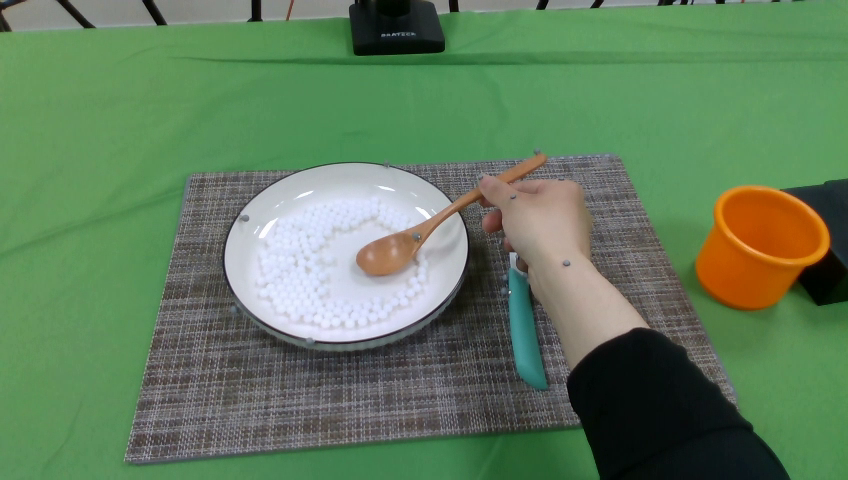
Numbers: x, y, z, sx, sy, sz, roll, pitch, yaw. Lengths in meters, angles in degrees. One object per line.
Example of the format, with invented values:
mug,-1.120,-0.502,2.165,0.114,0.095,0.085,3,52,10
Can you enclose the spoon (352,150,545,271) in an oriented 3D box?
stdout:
spoon,0.024,-0.028,0.530,0.194,0.022,0.041,-32,50,-2

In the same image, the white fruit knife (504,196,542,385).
white fruit knife,0.081,0.032,0.530,0.027,0.016,0.205,25,42,-22

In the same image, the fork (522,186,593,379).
fork,0.116,0.028,0.531,0.028,0.019,0.205,4,46,-13

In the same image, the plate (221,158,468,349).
plate,-0.066,0.009,0.527,0.209,0.038,0.207,1,48,-1
